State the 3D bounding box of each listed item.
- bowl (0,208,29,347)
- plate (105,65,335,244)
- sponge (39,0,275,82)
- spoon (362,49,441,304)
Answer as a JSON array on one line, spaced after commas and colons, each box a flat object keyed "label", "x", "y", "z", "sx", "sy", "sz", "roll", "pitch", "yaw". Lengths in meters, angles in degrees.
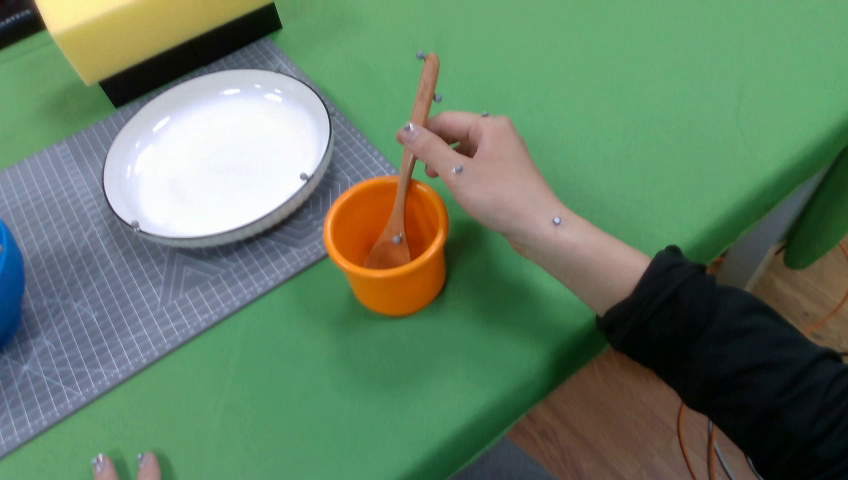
[{"label": "bowl", "x": -0.372, "y": 0.046, "z": 0.471, "sx": 0.151, "sy": 0.077, "sz": 0.150, "roll": -3, "pitch": 56, "yaw": 5}, {"label": "plate", "x": -0.183, "y": -0.079, "z": 0.560, "sx": 0.209, "sy": 0.038, "sz": 0.207, "roll": -3, "pitch": 56, "yaw": 4}, {"label": "sponge", "x": -0.275, "y": -0.258, "z": 0.622, "sx": 0.207, "sy": 0.061, "sz": 0.117, "roll": -31, "pitch": 58, "yaw": -15}, {"label": "spoon", "x": -0.012, "y": -0.044, "z": 0.454, "sx": 0.041, "sy": 0.194, "sz": 0.021, "roll": 17, "pitch": 16, "yaw": 17}]
